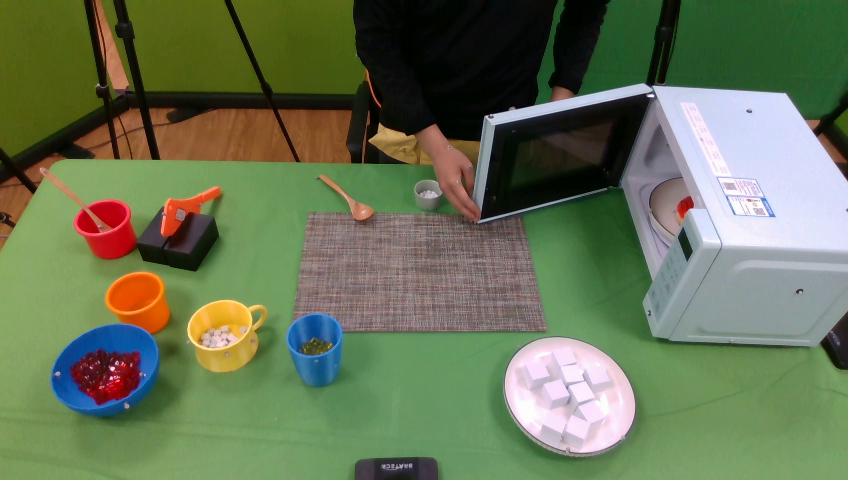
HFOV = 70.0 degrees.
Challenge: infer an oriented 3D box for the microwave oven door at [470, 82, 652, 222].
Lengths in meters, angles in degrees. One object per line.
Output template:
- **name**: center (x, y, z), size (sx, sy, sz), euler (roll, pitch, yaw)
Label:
- **microwave oven door**: center (0.270, -0.174, 1.208), size (0.356, 0.245, 0.039), euler (-15, 49, -17)

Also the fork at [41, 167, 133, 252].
- **fork**: center (-0.624, -0.056, 1.121), size (0.208, 0.018, 0.028), euler (49, 52, -15)

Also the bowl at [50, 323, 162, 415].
- **bowl**: center (-0.472, 0.209, 0.924), size (0.151, 0.077, 0.150), euler (3, 45, -2)

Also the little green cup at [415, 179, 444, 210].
- **little green cup**: center (0.010, -0.094, 1.278), size (0.061, 0.039, 0.061), euler (2, 50, -3)

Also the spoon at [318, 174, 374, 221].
- **spoon**: center (-0.168, -0.095, 1.274), size (0.041, 0.022, 0.192), euler (-38, 56, -15)

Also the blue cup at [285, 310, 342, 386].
- **blue cup**: center (-0.170, 0.179, 0.958), size (0.093, 0.101, 0.092), euler (2, 44, -1)

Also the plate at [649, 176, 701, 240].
- **plate**: center (0.543, -0.044, 1.181), size (0.209, 0.038, 0.208), euler (2, 46, -2)

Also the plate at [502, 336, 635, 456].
- **plate**: center (0.225, 0.248, 0.963), size (0.208, 0.039, 0.206), euler (2, 46, -2)

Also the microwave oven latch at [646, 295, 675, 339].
- **microwave oven latch**: center (0.412, 0.134, 1.061), size (0.030, 0.029, 0.078), euler (4, 45, 1)

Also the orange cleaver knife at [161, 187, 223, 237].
- **orange cleaver knife**: center (-0.448, -0.058, 1.181), size (0.012, 0.077, 0.211), euler (13, 17, 6)

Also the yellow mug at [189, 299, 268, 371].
- **yellow mug**: center (-0.316, 0.148, 1.002), size (0.131, 0.064, 0.099), euler (-32, 56, -31)

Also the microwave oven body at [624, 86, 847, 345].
- **microwave oven body**: center (0.568, -0.053, 1.118), size (0.326, 0.261, 0.439), euler (2, 45, -1)

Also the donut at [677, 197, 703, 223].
- **donut**: center (0.539, -0.046, 1.169), size (0.099, 0.048, 0.098), euler (5, 40, -4)
